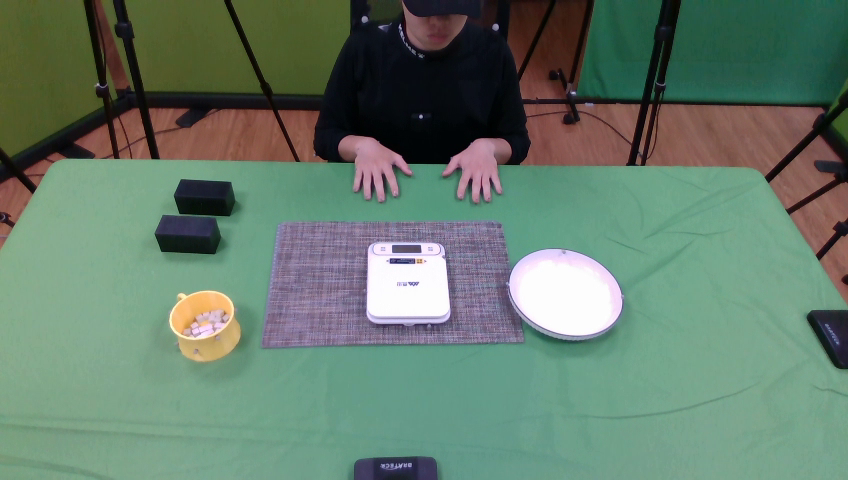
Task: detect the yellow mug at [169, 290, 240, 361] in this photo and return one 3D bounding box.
[{"bbox_3d":[-0.373,0.132,1.009,0.130,0.064,0.100,35,53,27],"label":"yellow mug"}]

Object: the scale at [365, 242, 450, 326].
[{"bbox_3d":[-0.032,0.071,1.113,0.149,0.032,0.199,0,46,-4],"label":"scale"}]

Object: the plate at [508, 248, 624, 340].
[{"bbox_3d":[0.256,0.101,1.106,0.209,0.038,0.208,2,45,-2],"label":"plate"}]
